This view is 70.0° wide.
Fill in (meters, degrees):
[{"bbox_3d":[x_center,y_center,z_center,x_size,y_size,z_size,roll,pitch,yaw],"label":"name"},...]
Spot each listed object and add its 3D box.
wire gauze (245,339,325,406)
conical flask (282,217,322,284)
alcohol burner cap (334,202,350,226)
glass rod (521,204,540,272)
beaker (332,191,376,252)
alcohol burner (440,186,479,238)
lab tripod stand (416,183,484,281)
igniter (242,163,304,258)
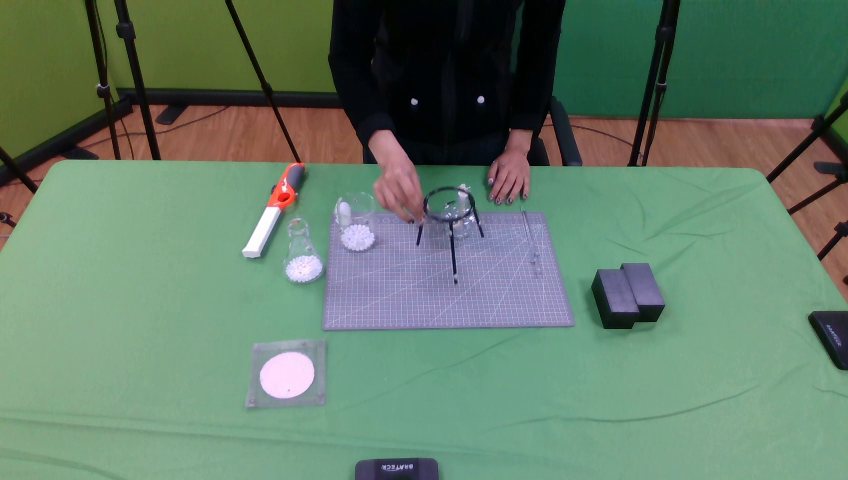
[{"bbox_3d":[-0.224,0.215,0.984,0.125,0.011,0.120,-3,46,-4],"label":"wire gauze"},{"bbox_3d":[-0.225,0.016,1.097,0.075,0.122,0.075,2,46,-2],"label":"conical flask"},{"bbox_3d":[-0.166,-0.055,1.223,0.034,0.048,0.033,2,46,-2],"label":"alcohol burner cap"},{"bbox_3d":[0.215,-0.008,1.230,0.008,0.008,0.198,0,43,-3],"label":"glass rod"},{"bbox_3d":[-0.133,-0.032,1.163,0.084,0.101,0.073,-18,50,-20],"label":"beaker"},{"bbox_3d":[0.072,-0.061,1.198,0.078,0.119,0.077,3,47,-3],"label":"alcohol burner"},{"bbox_3d":[0.048,-0.025,1.071,0.148,0.132,0.147,-3,43,3],"label":"lab tripod stand"},{"bbox_3d":[-0.305,-0.069,1.239,0.057,0.025,0.275,2,45,12],"label":"igniter"}]
